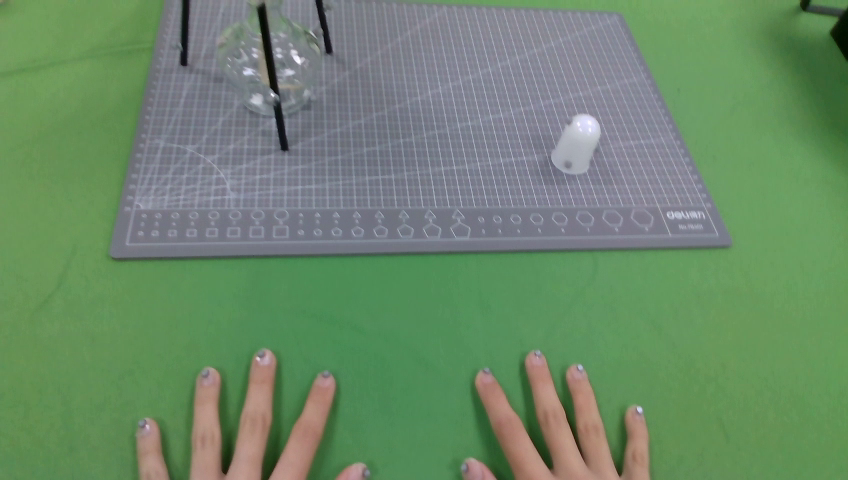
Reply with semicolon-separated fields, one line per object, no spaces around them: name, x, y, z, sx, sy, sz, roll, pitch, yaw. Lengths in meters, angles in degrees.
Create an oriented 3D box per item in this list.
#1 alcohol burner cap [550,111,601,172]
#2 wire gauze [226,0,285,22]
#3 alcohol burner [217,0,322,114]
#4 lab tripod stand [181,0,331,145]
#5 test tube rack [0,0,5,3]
alcohol burner cap;0.123;-0.080;0.484;0.034;0.048;0.033;4;54;-5
wire gauze;-0.115;-0.204;0.397;0.124;0.011;0.121;33;59;10
alcohol burner;-0.116;-0.155;0.455;0.078;0.120;0.077;5;52;-6
lab tripod stand;-0.121;-0.166;0.450;0.149;0.132;0.147;5;55;-7
test tube rack;-0.450;-0.173;0.437;0.066;0.086;0.241;31;56;13
